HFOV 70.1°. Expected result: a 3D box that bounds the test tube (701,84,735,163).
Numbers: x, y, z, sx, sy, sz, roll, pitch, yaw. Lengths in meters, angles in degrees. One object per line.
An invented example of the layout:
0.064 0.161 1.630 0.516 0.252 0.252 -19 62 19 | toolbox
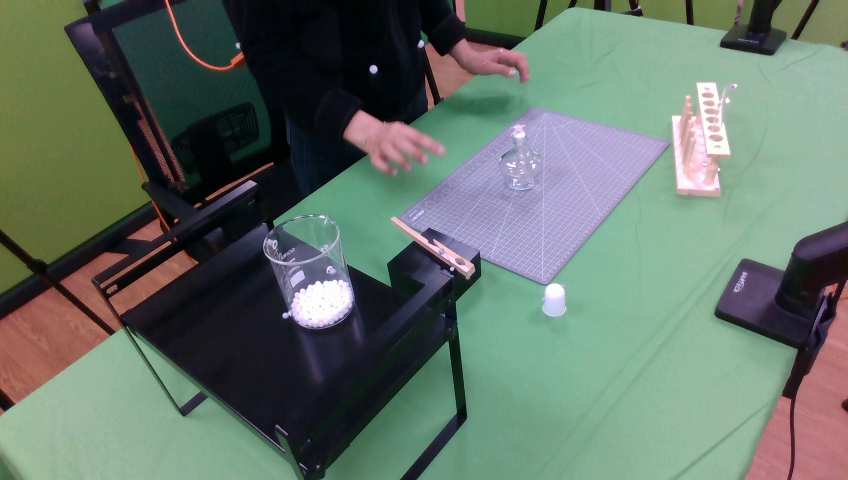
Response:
0.483 -0.189 0.996 0.017 0.151 0.017 -2 46 3 | test tube

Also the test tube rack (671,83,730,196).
0.482 -0.184 1.067 0.066 0.085 0.242 5 42 15 | test tube rack

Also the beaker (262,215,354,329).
-0.112 0.034 0.616 0.073 0.101 0.084 13 44 23 | beaker

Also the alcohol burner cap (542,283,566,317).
0.181 0.080 0.839 0.034 0.048 0.033 -4 40 4 | alcohol burner cap

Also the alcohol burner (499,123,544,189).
0.168 -0.149 1.048 0.078 0.119 0.077 -6 41 5 | alcohol burner

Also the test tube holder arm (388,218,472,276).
0.005 0.008 0.895 0.013 0.015 0.177 -35 47 -29 | test tube holder arm

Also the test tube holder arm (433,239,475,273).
0.040 0.023 0.871 0.010 0.015 0.087 -33 46 -28 | test tube holder arm
